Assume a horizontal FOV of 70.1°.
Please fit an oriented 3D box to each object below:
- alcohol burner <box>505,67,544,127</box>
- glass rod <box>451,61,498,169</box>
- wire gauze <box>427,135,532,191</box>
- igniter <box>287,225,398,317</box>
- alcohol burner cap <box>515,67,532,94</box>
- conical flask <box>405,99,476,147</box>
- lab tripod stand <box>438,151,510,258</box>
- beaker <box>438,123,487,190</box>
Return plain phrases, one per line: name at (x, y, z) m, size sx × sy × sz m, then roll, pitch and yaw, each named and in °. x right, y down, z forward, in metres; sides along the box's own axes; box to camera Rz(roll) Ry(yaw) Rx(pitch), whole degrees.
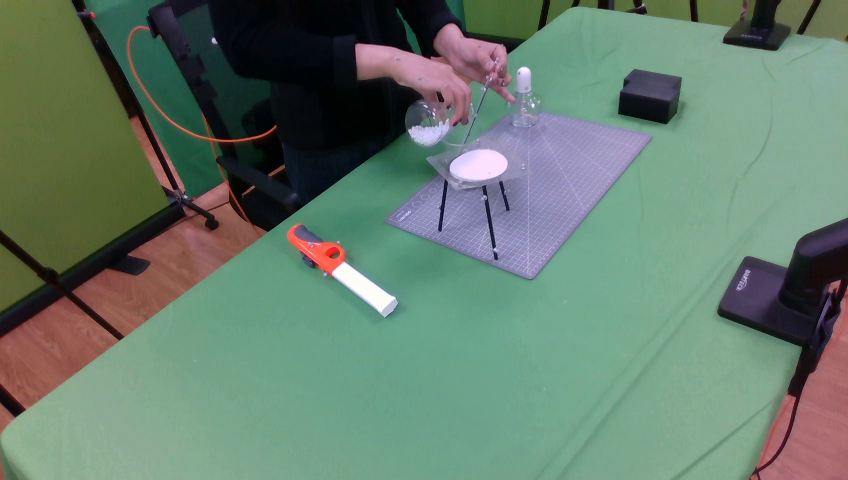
alcohol burner at (0.201, -0.288, 1.211) m, size 0.078 × 0.119 × 0.077 m, roll -6°, pitch 38°, yaw 5°
glass rod at (0.083, -0.210, 1.034) m, size 0.008 × 0.199 × 0.008 m, roll 20°, pitch 24°, yaw -9°
wire gauze at (0.081, -0.115, 0.909) m, size 0.125 × 0.011 × 0.120 m, roll -18°, pitch 39°, yaw -11°
igniter at (-0.139, 0.041, 0.957) m, size 0.057 × 0.025 × 0.274 m, roll -42°, pitch 49°, yaw -19°
alcohol burner cap at (0.197, -0.315, 1.187) m, size 0.034 × 0.048 × 0.033 m, roll -3°, pitch 46°, yaw 3°
conical flask at (0.034, -0.200, 0.980) m, size 0.074 × 0.075 × 0.122 m, roll 25°, pitch 37°, yaw 34°
lab tripod stand at (0.087, -0.064, 0.952) m, size 0.148 × 0.132 × 0.147 m, roll -6°, pitch 38°, yaw 5°
beaker at (0.072, -0.147, 1.080) m, size 0.084 × 0.101 × 0.073 m, roll -5°, pitch 40°, yaw 7°
